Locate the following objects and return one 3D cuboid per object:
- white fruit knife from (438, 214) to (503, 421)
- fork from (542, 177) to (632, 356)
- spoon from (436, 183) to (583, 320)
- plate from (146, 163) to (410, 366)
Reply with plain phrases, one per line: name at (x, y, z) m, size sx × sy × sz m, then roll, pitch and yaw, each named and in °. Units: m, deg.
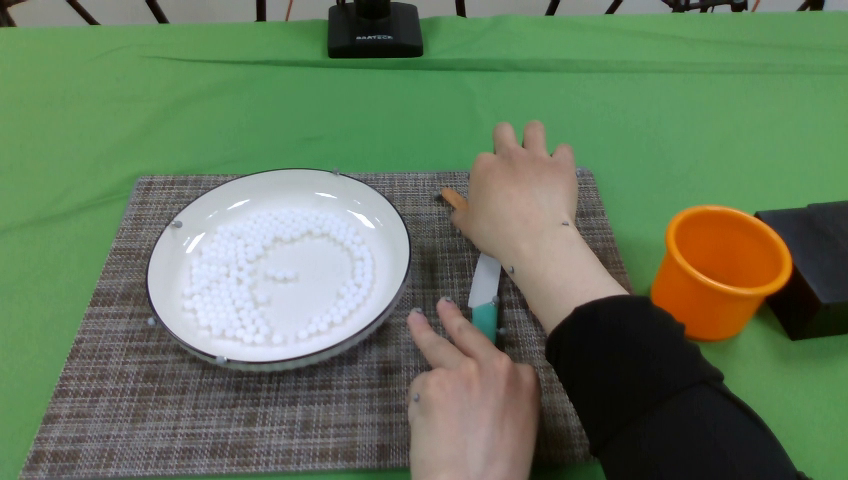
white fruit knife at (0.045, 0.051, 0.487) m, size 0.027 × 0.016 × 0.206 m, roll 7°, pitch 49°, yaw 11°
fork at (0.133, 0.014, 0.523) m, size 0.028 × 0.019 × 0.205 m, roll -7°, pitch 50°, yaw -4°
spoon at (0.067, 0.002, 0.530) m, size 0.041 × 0.022 × 0.191 m, roll -32°, pitch 55°, yaw -12°
plate at (-0.115, 0.016, 0.500) m, size 0.209 × 0.038 × 0.207 m, roll 1°, pitch 48°, yaw -1°
